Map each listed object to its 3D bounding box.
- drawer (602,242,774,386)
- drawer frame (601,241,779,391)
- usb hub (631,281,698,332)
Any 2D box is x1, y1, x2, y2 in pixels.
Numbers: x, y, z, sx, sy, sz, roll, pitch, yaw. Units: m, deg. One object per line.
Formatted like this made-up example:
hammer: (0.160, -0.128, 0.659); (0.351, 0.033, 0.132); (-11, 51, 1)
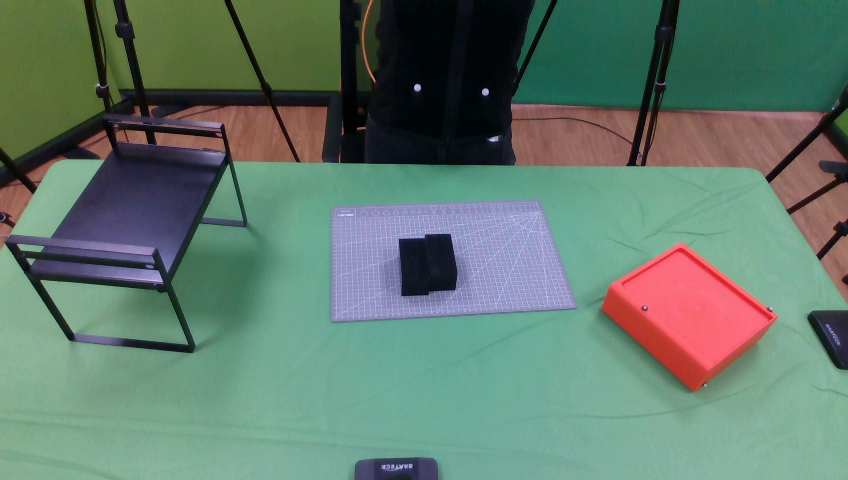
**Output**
drawer: (0.460, 0.124, 1.067); (0.194, 0.073, 0.210); (-25, 52, -26)
drawer frame: (0.462, 0.124, 1.066); (0.202, 0.083, 0.212); (-26, 54, -26)
usb hub: (0.434, 0.119, 1.091); (0.125, 0.025, 0.049); (-24, 50, -26)
